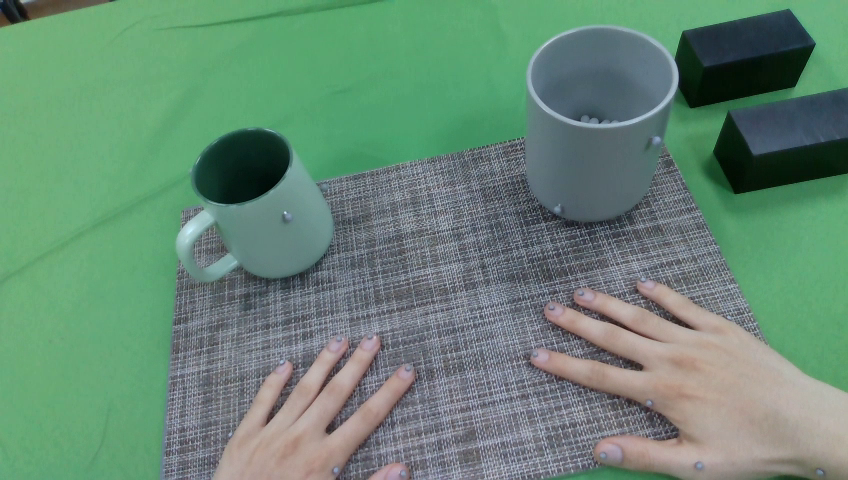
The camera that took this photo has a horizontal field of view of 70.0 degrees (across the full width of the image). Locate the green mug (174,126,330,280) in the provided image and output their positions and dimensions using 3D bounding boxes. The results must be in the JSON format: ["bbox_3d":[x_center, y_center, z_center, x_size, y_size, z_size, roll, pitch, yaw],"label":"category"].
[{"bbox_3d":[-0.144,-0.018,0.493,0.092,0.106,0.125,35,69,26],"label":"green mug"}]

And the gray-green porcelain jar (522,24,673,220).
[{"bbox_3d":[0.131,-0.086,0.481,0.106,0.128,0.105,-4,57,7],"label":"gray-green porcelain jar"}]
